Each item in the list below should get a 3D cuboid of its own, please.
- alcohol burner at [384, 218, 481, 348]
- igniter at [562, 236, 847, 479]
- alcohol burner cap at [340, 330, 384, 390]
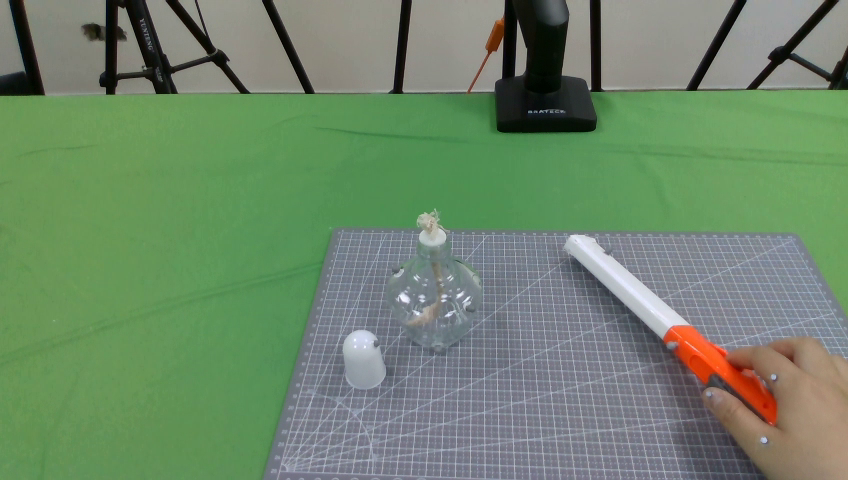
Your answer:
[{"bbox_3d":[0.006,0.029,0.472,0.078,0.120,0.077,0,43,0],"label":"alcohol burner"},{"bbox_3d":[0.202,0.079,0.465,0.057,0.025,0.273,5,31,-35],"label":"igniter"},{"bbox_3d":[-0.049,0.088,0.462,0.034,0.048,0.033,-1,42,2],"label":"alcohol burner cap"}]
